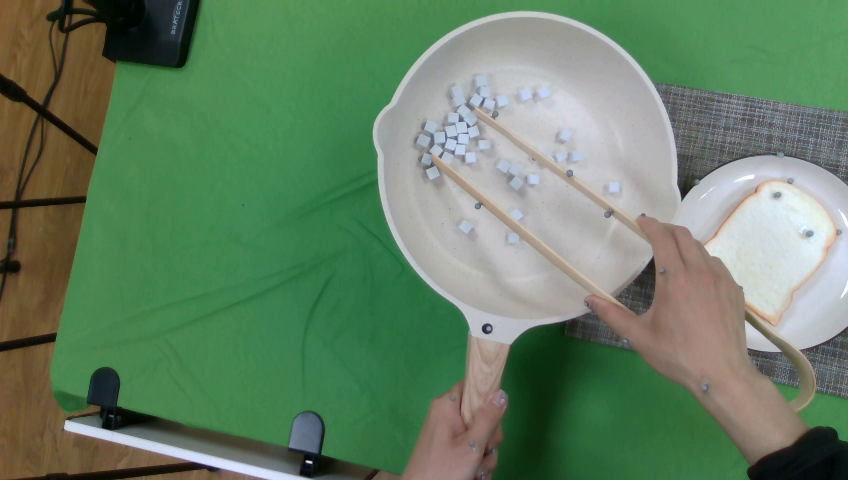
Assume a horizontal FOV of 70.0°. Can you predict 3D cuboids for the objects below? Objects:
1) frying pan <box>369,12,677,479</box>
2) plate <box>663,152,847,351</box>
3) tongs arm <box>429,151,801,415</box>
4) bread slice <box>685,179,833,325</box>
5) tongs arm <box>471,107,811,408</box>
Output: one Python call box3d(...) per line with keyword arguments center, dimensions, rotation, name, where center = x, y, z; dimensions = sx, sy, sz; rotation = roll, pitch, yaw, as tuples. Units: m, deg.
box3d(center=(0.071, 0.034, 0.579), dimensions=(0.308, 0.103, 0.486), rotation=(15, 81, -9), name="frying pan")
box3d(center=(0.358, 0.012, 0.639), dimensions=(0.207, 0.039, 0.207), rotation=(-1, 85, 9), name="plate")
box3d(center=(0.151, 0.031, 0.546), dimensions=(0.385, 0.028, 0.028), rotation=(39, 79, 16), name="tongs arm")
box3d(center=(0.357, 0.004, 0.641), dimensions=(0.106, 0.018, 0.134), rotation=(35, 92, 9), name="bread slice")
box3d(center=(0.177, 0.003, 0.550), dimensions=(0.382, 0.027, 0.050), rotation=(39, 83, 16), name="tongs arm")
